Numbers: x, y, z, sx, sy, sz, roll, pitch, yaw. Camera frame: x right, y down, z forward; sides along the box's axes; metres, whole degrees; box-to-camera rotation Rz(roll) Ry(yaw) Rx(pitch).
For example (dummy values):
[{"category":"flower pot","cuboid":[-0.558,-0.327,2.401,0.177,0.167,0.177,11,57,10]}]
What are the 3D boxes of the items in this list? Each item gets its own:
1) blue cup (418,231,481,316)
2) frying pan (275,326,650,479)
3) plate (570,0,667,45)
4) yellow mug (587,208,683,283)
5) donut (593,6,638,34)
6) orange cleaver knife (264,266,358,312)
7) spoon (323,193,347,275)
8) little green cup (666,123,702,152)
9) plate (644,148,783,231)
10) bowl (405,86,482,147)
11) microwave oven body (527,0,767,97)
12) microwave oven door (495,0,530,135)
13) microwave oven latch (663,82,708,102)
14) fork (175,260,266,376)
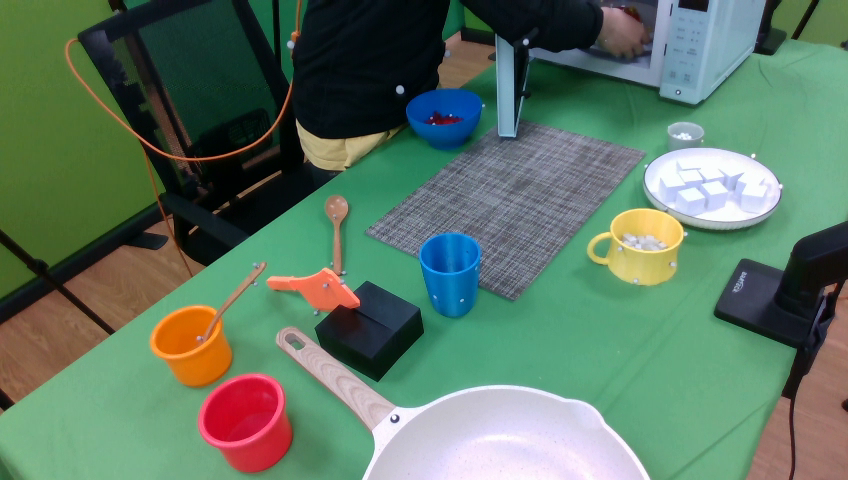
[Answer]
[{"category":"blue cup","cuboid":[0.039,0.052,0.843,0.092,0.100,0.092,-4,43,4]},{"category":"frying pan","cuboid":[0.003,0.230,0.641,0.484,0.103,0.308,35,54,28]},{"category":"plate","cuboid":[0.437,-0.492,1.368,0.209,0.038,0.208,-6,41,6]},{"category":"yellow mug","cuboid":[0.305,0.009,0.884,0.131,0.064,0.099,-4,41,5]},{"category":"donut","cuboid":[0.430,-0.491,1.359,0.099,0.048,0.098,-4,44,4]},{"category":"orange cleaver knife","cuboid":[-0.165,0.073,0.864,0.210,0.077,0.012,-6,31,50]},{"category":"spoon","cuboid":[-0.148,-0.014,1.008,0.042,0.021,0.192,5,39,-13]},{"category":"little green cup","cuboid":[0.472,-0.183,1.102,0.061,0.039,0.061,-5,41,5]},{"category":"plate","cuboid":[0.465,-0.080,0.986,0.207,0.039,0.206,-4,40,4]},{"category":"bowl","cuboid":[0.041,-0.236,1.196,0.151,0.077,0.150,-4,40,4]},{"category":"microwave oven body","cuboid":[0.473,-0.516,1.313,0.438,0.261,0.327,26,51,34]},{"category":"microwave oven door","cuboid":[0.183,-0.411,1.225,0.039,0.245,0.355,3,42,12]},{"category":"microwave oven latch","cuboid":[0.518,-0.298,1.202,0.078,0.029,0.030,30,54,36]},{"category":"fork","cuboid":[-0.268,0.103,0.792,0.207,0.019,0.028,-51,41,16]}]
